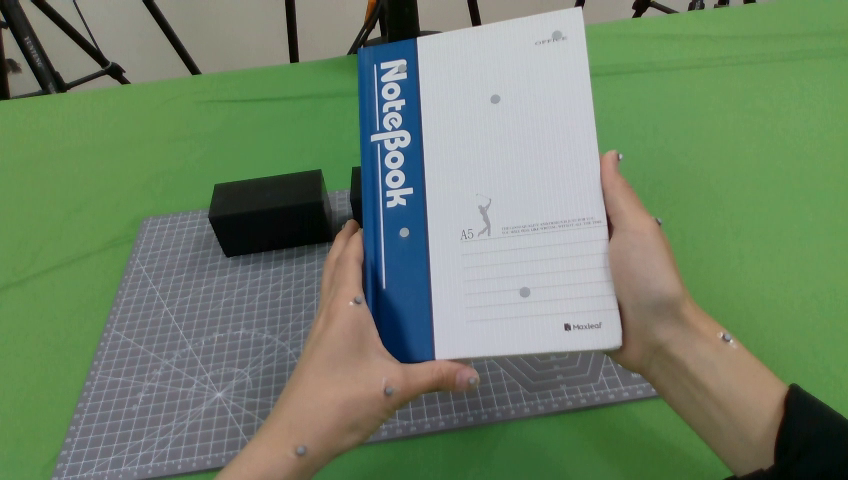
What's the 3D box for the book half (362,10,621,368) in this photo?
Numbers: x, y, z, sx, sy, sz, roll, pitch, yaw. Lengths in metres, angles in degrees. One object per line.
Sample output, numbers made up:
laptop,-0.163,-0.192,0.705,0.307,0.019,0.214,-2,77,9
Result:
book half,0.033,-0.033,0.367,0.143,0.007,0.209,-6,76,13
